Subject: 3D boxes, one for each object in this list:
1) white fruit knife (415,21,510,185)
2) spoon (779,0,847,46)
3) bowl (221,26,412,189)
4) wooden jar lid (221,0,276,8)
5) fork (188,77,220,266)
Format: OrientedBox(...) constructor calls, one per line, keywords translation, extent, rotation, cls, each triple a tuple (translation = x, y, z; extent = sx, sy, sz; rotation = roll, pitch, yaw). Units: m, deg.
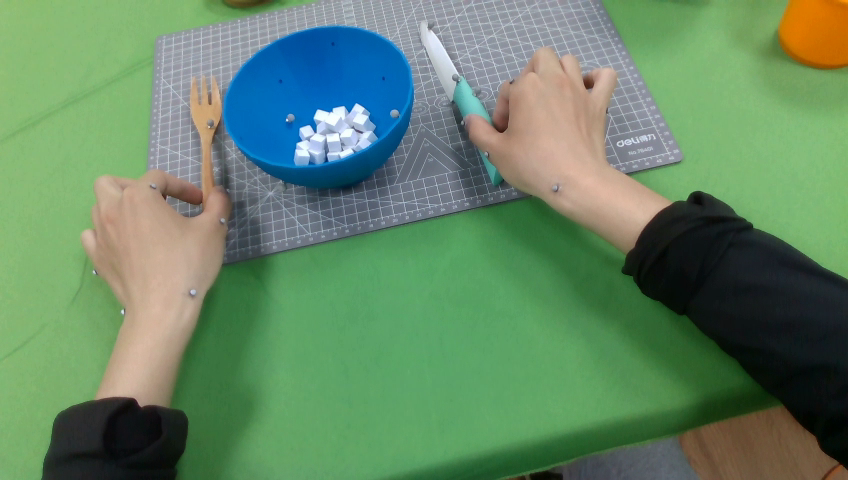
OrientedBox(translation=(0.029, -0.134, 0.543), extent=(0.016, 0.027, 0.205), rotation=(6, 48, -40), cls="white fruit knife")
OrientedBox(translation=(0.383, -0.218, 0.478), extent=(0.022, 0.193, 0.041), rotation=(16, 56, -36), cls="spoon")
OrientedBox(translation=(-0.079, -0.095, 0.501), extent=(0.151, 0.077, 0.150), rotation=(-3, 59, 6), cls="bowl")
OrientedBox(translation=(-0.189, -0.294, 0.670), extent=(0.108, 0.021, 0.107), rotation=(-2, 59, 4), cls="wooden jar lid")
OrientedBox(translation=(-0.191, -0.067, 0.533), extent=(0.028, 0.019, 0.205), rotation=(-3, 56, -19), cls="fork")
